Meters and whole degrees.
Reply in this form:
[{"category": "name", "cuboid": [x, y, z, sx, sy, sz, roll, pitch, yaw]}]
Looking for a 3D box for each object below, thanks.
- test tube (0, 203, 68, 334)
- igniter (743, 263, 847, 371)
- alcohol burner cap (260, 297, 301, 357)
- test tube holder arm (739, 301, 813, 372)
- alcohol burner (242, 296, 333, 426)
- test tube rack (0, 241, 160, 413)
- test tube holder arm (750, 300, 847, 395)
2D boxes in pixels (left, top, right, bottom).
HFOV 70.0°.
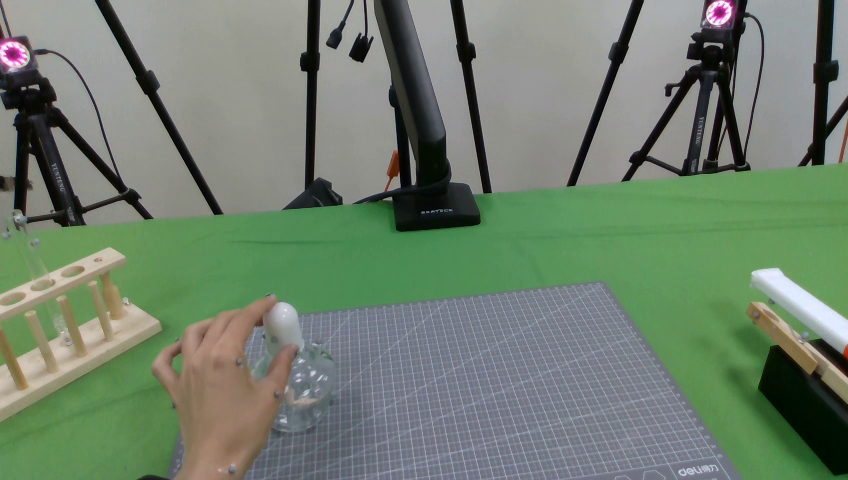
[{"category": "test tube", "cuboid": [-0.374, 0.032, 0.587, 0.017, 0.151, 0.017, -1, 33, 1]}, {"category": "igniter", "cuboid": [0.363, 0.092, 0.502, 0.057, 0.025, 0.274, -7, 27, -7]}, {"category": "alcohol burner cap", "cuboid": [-0.121, 0.069, 0.502, 0.034, 0.048, 0.033, 0, 34, 0]}, {"category": "test tube holder arm", "cuboid": [0.309, 0.083, 0.531, 0.010, 0.015, 0.087, -9, 30, -9]}, {"category": "alcohol burner", "cuboid": [-0.119, 0.100, 0.521, 0.078, 0.120, 0.077, -1, 29, 1]}, {"category": "test tube rack", "cuboid": [-0.390, 0.096, 0.577, 0.066, 0.086, 0.242, 21, 37, 33]}, {"category": "test tube holder arm", "cuboid": [0.326, 0.103, 0.494, 0.013, 0.015, 0.176, -10, 30, -11]}]
